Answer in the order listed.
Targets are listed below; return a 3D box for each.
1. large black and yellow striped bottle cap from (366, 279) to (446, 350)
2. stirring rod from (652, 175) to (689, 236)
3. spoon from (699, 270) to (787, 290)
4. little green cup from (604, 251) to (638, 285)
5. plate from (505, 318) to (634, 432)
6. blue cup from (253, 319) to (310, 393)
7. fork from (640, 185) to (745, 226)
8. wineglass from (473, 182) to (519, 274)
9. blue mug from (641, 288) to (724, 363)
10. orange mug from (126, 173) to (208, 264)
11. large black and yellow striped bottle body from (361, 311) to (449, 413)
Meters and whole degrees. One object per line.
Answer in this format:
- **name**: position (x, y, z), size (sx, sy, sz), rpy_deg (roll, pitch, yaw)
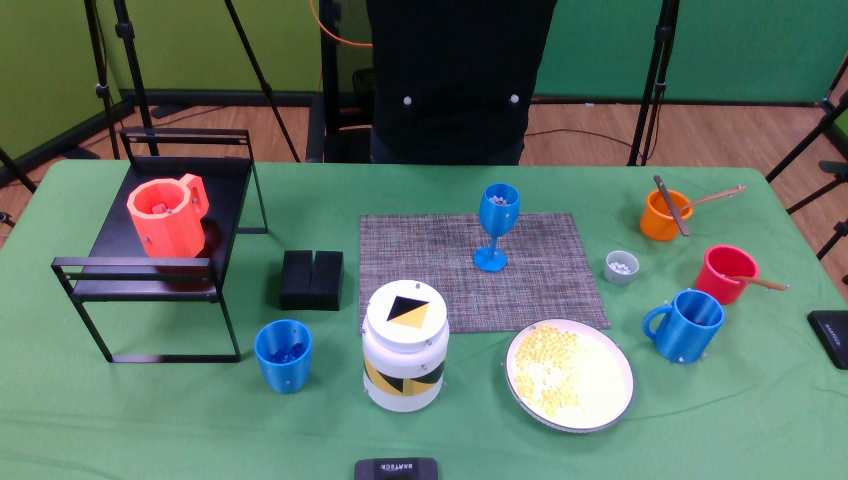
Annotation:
- **large black and yellow striped bottle cap**: position (-0.025, 0.104, 0.864), size (0.115, 0.019, 0.114), rpy_deg (3, 48, -3)
- **stirring rod**: position (0.491, -0.072, 1.211), size (0.014, 0.006, 0.175), rpy_deg (-1, 46, -6)
- **spoon**: position (0.567, 0.071, 1.087), size (0.042, 0.193, 0.021), rpy_deg (-12, 93, -13)
- **little green cup**: position (0.375, 0.055, 1.162), size (0.061, 0.039, 0.061), rpy_deg (2, 45, -2)
- **plate**: position (0.235, 0.221, 0.991), size (0.209, 0.038, 0.208), rpy_deg (2, 45, -2)
- **blue cup**: position (-0.217, 0.187, 0.943), size (0.093, 0.101, 0.092), rpy_deg (3, 45, -3)
- **fork**: position (0.534, -0.069, 1.215), size (0.207, 0.019, 0.028), rpy_deg (-26, 27, 33)
- **wineglass**: position (0.131, -0.022, 1.117), size (0.074, 0.173, 0.073), rpy_deg (2, 46, -2)
- **blue mug**: position (0.432, 0.144, 1.033), size (0.116, 0.106, 0.082), rpy_deg (8, 46, 5)
- **orange mug**: position (-0.371, -0.040, 0.902), size (0.083, 0.101, 0.126), rpy_deg (18, 52, 13)
- **large black and yellow striped bottle body**: position (-0.031, 0.163, 0.924), size (0.131, 0.185, 0.130), rpy_deg (2, 46, -2)
